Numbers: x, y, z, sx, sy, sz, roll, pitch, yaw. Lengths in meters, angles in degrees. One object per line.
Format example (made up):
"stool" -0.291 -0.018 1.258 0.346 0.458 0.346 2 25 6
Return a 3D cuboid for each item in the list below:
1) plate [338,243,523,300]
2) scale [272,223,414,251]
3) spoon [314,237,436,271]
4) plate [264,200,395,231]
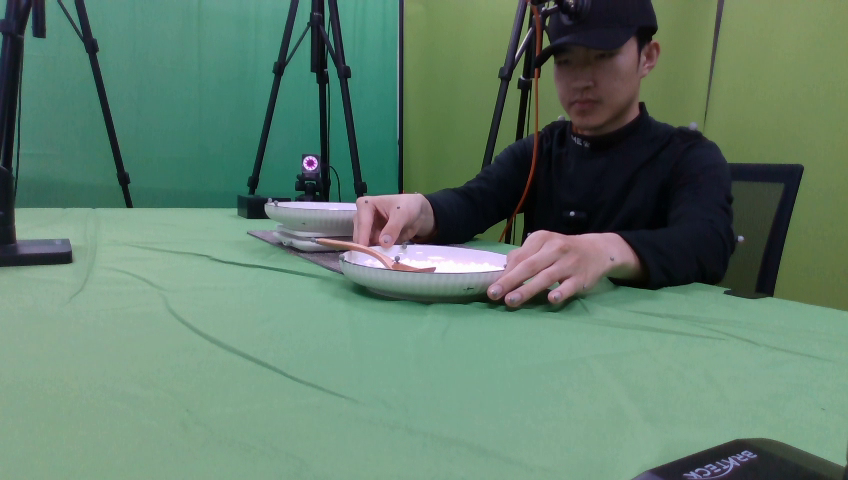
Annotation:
"plate" 0.008 0.035 0.689 0.209 0.038 0.209 2 7 0
"scale" -0.132 -0.008 0.983 0.202 0.031 0.148 -2 8 -32
"spoon" -0.063 0.015 0.694 0.192 0.021 0.042 18 15 41
"plate" -0.150 -0.040 0.971 0.208 0.039 0.207 2 7 0
